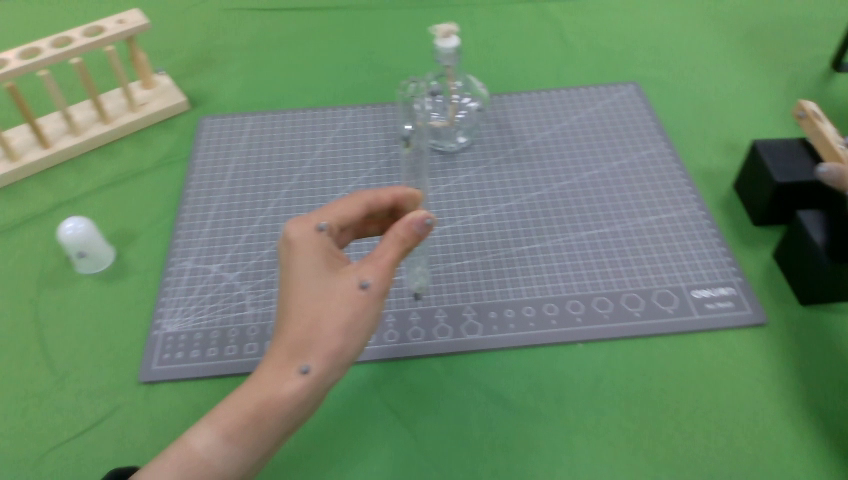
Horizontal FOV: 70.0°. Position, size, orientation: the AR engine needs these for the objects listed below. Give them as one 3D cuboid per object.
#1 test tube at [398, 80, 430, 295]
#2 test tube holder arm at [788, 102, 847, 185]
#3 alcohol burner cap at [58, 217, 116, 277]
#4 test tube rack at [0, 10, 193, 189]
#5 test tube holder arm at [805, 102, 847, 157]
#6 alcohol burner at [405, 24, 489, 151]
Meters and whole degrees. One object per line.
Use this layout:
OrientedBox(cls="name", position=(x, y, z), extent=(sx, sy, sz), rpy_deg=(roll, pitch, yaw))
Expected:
OrientedBox(cls="test tube", position=(-0.005, -0.021, 0.346), extent=(0.017, 0.151, 0.017), rpy_deg=(0, 44, 0))
OrientedBox(cls="test tube holder arm", position=(0.316, -0.078, 0.481), extent=(0.010, 0.015, 0.087), rpy_deg=(-4, 50, -4))
OrientedBox(cls="alcohol burner cap", position=(-0.271, 0.003, 0.482), extent=(0.034, 0.048, 0.033), rpy_deg=(-1, 49, 1))
OrientedBox(cls="test tube rack", position=(-0.356, -0.124, 0.566), extent=(0.242, 0.086, 0.066), rpy_deg=(-30, 54, -22))
OrientedBox(cls="test tube holder arm", position=(0.326, -0.044, 0.453), extent=(0.013, 0.015, 0.176), rpy_deg=(-5, 50, -5))
OrientedBox(cls="alcohol burner", position=(0.021, -0.139, 0.542), extent=(0.078, 0.120, 0.077), rpy_deg=(0, 50, 0))
